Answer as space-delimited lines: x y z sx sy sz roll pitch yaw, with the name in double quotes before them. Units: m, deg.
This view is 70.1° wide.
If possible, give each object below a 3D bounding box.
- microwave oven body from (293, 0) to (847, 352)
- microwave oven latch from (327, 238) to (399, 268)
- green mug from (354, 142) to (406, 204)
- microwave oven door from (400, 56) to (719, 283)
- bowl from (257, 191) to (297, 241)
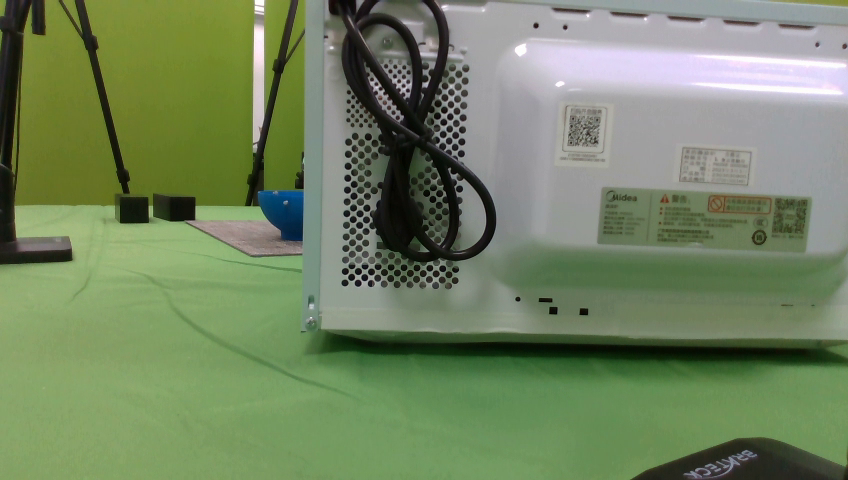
"microwave oven body" 0.122 -0.055 0.550 0.442 0.260 0.325 3 7 -5
"microwave oven latch" -0.069 0.015 0.694 0.079 0.029 0.030 3 7 -3
"green mug" -0.080 -0.120 1.087 0.093 0.105 0.125 1 7 -8
"microwave oven door" 0.155 -0.078 0.698 0.356 0.243 0.039 2 8 -5
"bowl" -0.206 -0.041 1.027 0.151 0.077 0.151 3 8 0
